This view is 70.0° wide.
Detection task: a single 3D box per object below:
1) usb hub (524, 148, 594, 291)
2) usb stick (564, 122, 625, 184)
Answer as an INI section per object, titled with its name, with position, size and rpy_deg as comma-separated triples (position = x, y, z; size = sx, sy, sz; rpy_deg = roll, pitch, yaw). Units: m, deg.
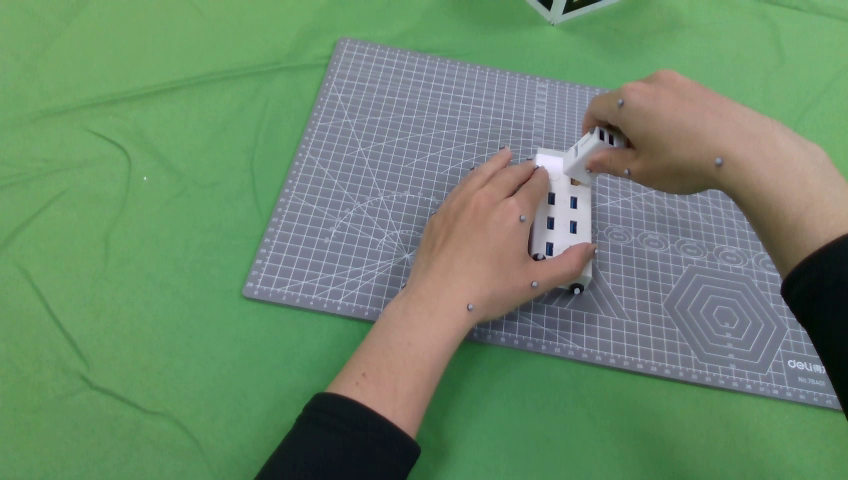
[usb hub]
position = 0.109, -0.020, 0.490
size = 0.049, 0.025, 0.124
rpy_deg = 9, 54, 0
[usb stick]
position = 0.129, -0.065, 0.478
size = 0.027, 0.059, 0.021
rpy_deg = 15, 56, -17
